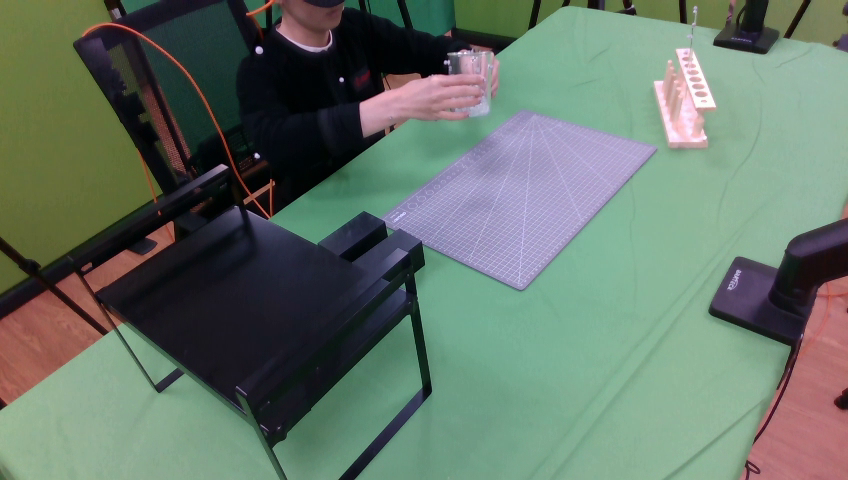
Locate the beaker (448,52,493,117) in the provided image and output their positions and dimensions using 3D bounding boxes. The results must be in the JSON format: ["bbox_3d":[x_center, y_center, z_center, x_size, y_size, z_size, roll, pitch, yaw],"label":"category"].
[{"bbox_3d":[0.080,-0.262,1.013,0.074,0.100,0.084,2,21,13],"label":"beaker"}]

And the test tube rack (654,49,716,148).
[{"bbox_3d":[0.502,-0.281,1.176,0.066,0.085,0.241,2,42,11],"label":"test tube rack"}]

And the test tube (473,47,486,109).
[{"bbox_3d":[0.102,-0.293,1.105,0.017,0.151,0.017,-4,62,7],"label":"test tube"}]

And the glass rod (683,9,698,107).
[{"bbox_3d":[0.501,-0.336,1.139,0.008,0.201,0.008,-8,42,8],"label":"glass rod"}]
